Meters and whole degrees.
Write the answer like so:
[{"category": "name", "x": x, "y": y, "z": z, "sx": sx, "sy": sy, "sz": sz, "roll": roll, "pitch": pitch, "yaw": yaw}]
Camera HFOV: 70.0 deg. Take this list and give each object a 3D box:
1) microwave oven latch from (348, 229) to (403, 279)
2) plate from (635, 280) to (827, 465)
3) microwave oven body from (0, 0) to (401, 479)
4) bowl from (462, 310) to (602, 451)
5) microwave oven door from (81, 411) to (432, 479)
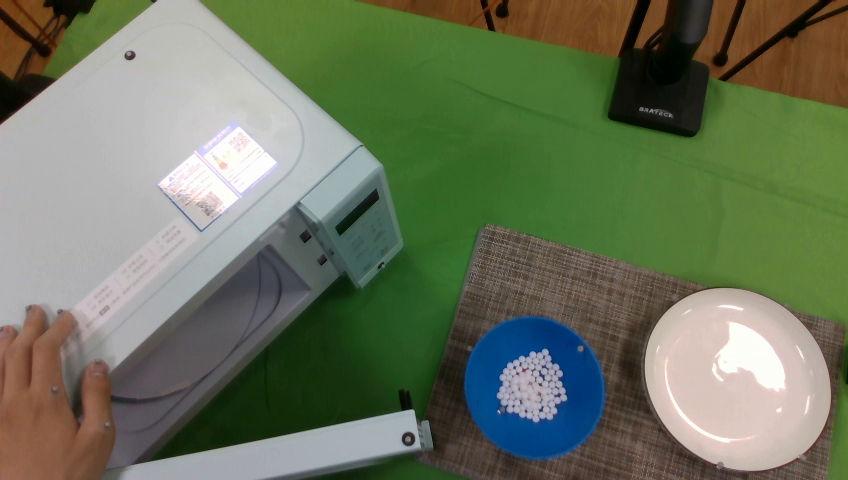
[{"category": "microwave oven latch", "x": -0.060, "y": 0.011, "z": 0.748, "sx": 0.079, "sy": 0.030, "sz": 0.030, "roll": -43, "pitch": 75, "yaw": -10}, {"category": "plate", "x": 0.347, "y": 0.151, "z": 0.699, "sx": 0.207, "sy": 0.039, "sz": 0.206, "roll": -1, "pitch": 72, "yaw": 2}, {"category": "microwave oven body", "x": -0.295, "y": 0.007, "z": 0.658, "sx": 0.324, "sy": 0.262, "sz": 0.441, "roll": 42, "pitch": 79, "yaw": 14}, {"category": "bowl", "x": 0.117, "y": 0.160, "z": 0.685, "sx": 0.151, "sy": 0.077, "sz": 0.150, "roll": -1, "pitch": 72, "yaw": 3}, {"category": "microwave oven door", "x": -0.173, "y": 0.212, "z": 0.580, "sx": 0.356, "sy": 0.245, "sz": 0.039, "roll": -11, "pitch": 72, "yaw": -1}]
